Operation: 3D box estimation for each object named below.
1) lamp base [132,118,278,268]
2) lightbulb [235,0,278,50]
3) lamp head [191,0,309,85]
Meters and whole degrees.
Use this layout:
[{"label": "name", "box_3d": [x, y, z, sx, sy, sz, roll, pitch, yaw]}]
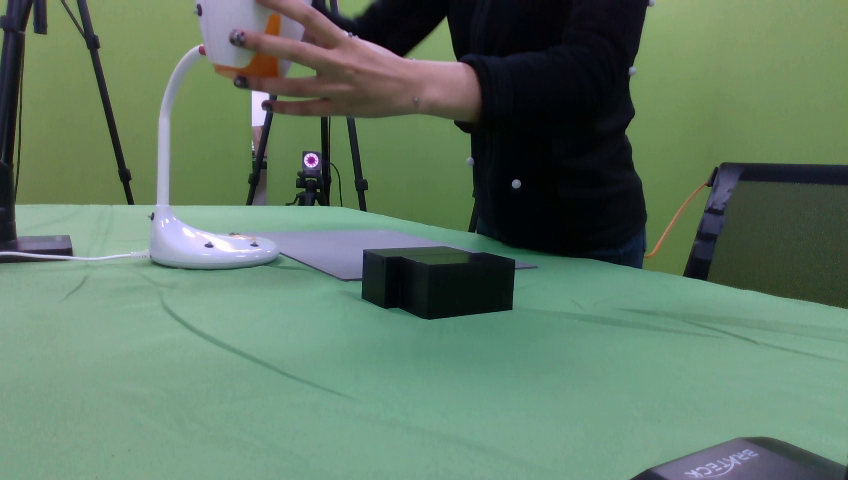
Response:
[{"label": "lamp base", "box_3d": [-0.277, -0.062, 0.767, 0.180, 0.180, 0.160, -10, 15, -44]}, {"label": "lightbulb", "box_3d": [-0.155, -0.230, 0.559, 0.059, 0.107, 0.059, 9, 2, 0]}, {"label": "lamp head", "box_3d": [-0.165, -0.207, 0.562, 0.112, 0.123, 0.112, 10, 10, -1]}]
